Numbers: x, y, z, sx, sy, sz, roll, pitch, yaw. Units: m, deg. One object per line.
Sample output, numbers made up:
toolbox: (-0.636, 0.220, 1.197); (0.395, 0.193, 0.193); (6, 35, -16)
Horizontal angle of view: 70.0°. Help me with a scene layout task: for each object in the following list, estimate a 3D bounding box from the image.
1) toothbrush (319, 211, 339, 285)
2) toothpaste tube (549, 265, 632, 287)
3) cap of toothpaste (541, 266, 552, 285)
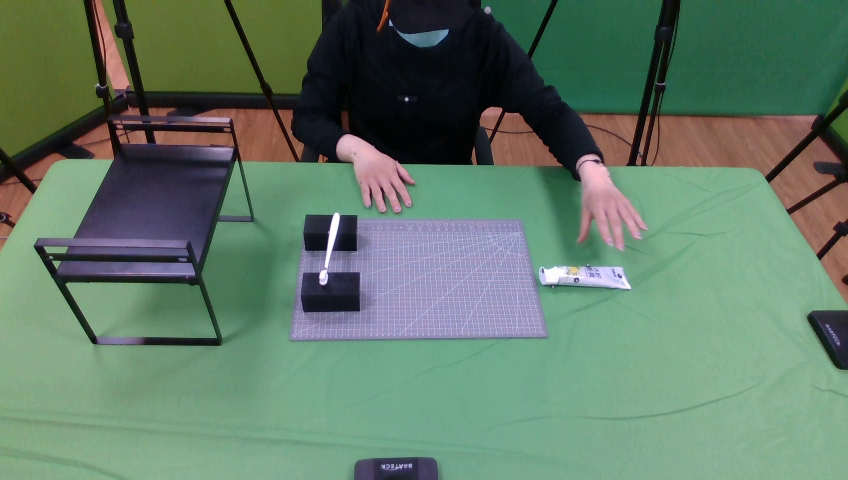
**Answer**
toothbrush: (-0.172, 0.009, 1.103); (0.014, 0.017, 0.180); (-6, 44, 9)
toothpaste tube: (0.309, 0.068, 1.147); (0.165, 0.034, 0.054); (0, 52, -9)
cap of toothpaste: (0.230, 0.065, 1.135); (0.011, 0.037, 0.037); (-7, 48, -11)
